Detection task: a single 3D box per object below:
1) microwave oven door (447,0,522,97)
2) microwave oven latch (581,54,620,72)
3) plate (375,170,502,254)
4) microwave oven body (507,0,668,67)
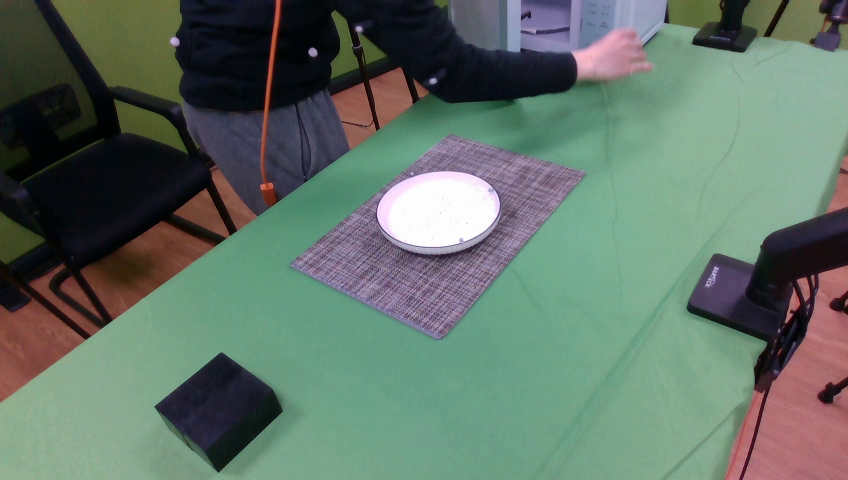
[{"bbox_3d":[0.125,-0.501,1.333,0.039,0.245,0.353,-17,42,-11],"label":"microwave oven door"},{"bbox_3d":[0.387,-0.394,1.330,0.078,0.029,0.030,26,51,33],"label":"microwave oven latch"},{"bbox_3d":[0.024,-0.043,0.998,0.209,0.038,0.208,-3,41,3],"label":"plate"},{"bbox_3d":[0.325,-0.609,1.437,0.438,0.261,0.327,23,50,30],"label":"microwave oven body"}]
